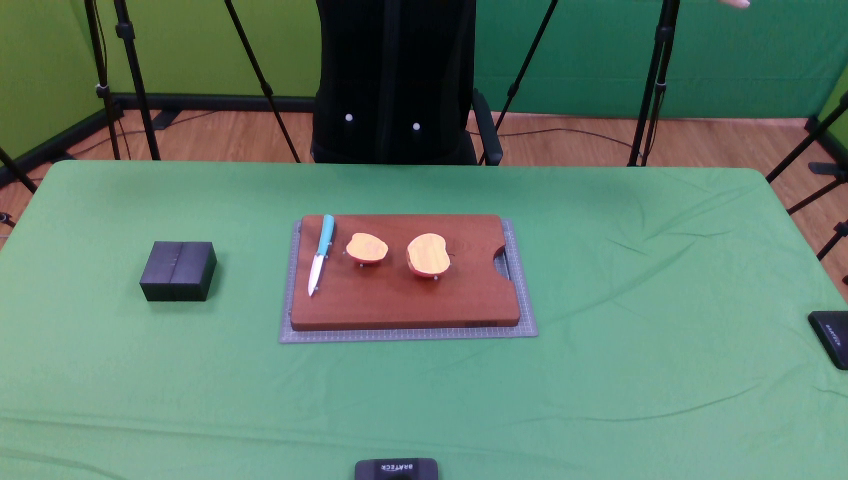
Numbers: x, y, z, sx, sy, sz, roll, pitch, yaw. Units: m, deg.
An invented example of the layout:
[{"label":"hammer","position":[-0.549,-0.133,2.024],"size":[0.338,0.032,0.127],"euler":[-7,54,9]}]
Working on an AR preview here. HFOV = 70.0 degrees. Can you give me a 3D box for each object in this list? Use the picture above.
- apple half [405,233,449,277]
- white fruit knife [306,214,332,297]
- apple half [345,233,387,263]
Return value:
[{"label":"apple half","position":[0.003,0.033,1.103],"size":[0.075,0.053,0.080],"euler":[-12,72,-18]},{"label":"white fruit knife","position":[-0.195,0.025,1.125],"size":[0.027,0.016,0.206],"euler":[-16,44,20]},{"label":"apple half","position":[-0.109,0.024,1.121],"size":[0.081,0.033,0.081],"euler":[13,36,-10]}]
